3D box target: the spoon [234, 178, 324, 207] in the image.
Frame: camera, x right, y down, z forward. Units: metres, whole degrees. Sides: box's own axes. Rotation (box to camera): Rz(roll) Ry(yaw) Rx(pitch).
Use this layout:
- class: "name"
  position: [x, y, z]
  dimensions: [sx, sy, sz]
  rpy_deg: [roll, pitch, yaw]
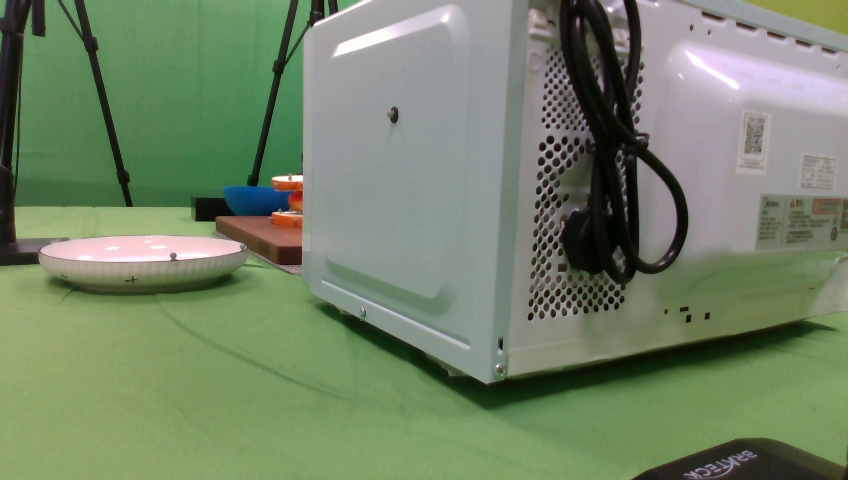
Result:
- class: "spoon"
  position: [-0.300, -0.103, 1.266]
  dimensions: [0.194, 0.021, 0.041]
  rpy_deg: [-24, 10, -24]

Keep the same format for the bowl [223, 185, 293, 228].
- class: "bowl"
  position: [-0.330, -0.068, 1.230]
  dimensions: [0.151, 0.077, 0.151]
  rpy_deg: [3, 8, 0]

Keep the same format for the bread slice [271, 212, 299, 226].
- class: "bread slice"
  position: [-0.197, -0.038, 1.051]
  dimensions: [0.132, 0.019, 0.104]
  rpy_deg: [-1, 7, -31]

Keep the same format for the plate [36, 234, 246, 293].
- class: "plate"
  position: [-0.305, 0.026, 0.668]
  dimensions: [0.208, 0.039, 0.207]
  rpy_deg: [3, 7, 0]

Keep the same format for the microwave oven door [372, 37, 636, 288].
- class: "microwave oven door"
  position: [0.109, -0.080, 0.686]
  dimensions: [0.358, 0.243, 0.039]
  rpy_deg: [-2, 9, -33]

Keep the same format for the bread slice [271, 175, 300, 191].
- class: "bread slice"
  position: [-0.195, -0.099, 1.048]
  dimensions: [0.135, 0.018, 0.106]
  rpy_deg: [-5, 12, -31]

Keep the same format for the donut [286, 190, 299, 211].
- class: "donut"
  position: [-0.190, -0.068, 1.055]
  dimensions: [0.099, 0.048, 0.099]
  rpy_deg: [4, 6, 0]

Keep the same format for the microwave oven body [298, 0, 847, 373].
- class: "microwave oven body"
  position: [0.151, -0.055, 0.542]
  dimensions: [0.444, 0.260, 0.324]
  rpy_deg: [-2, 7, -33]

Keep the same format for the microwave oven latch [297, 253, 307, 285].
- class: "microwave oven latch"
  position: [-0.082, 0.027, 0.582]
  dimensions: [0.079, 0.029, 0.030]
  rpy_deg: [-1, 7, -32]
